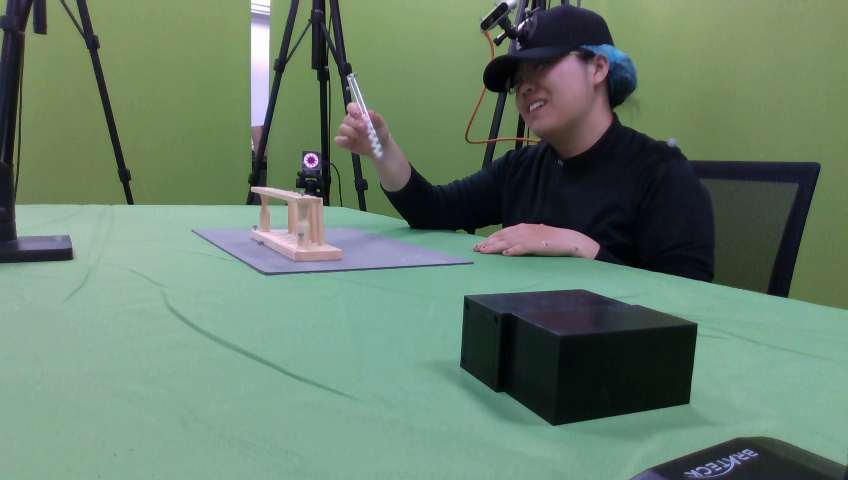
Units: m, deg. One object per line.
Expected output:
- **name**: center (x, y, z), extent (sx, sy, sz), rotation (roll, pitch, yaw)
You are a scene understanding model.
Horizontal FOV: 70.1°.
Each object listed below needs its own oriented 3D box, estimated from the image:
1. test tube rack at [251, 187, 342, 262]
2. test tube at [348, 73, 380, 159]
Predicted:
- **test tube rack**: center (-0.196, -0.030, 0.902), extent (0.067, 0.085, 0.241), rotation (-1, 8, -29)
- **test tube**: center (-0.100, -0.207, 1.013), extent (0.017, 0.150, 0.017), rotation (-17, -5, -1)
